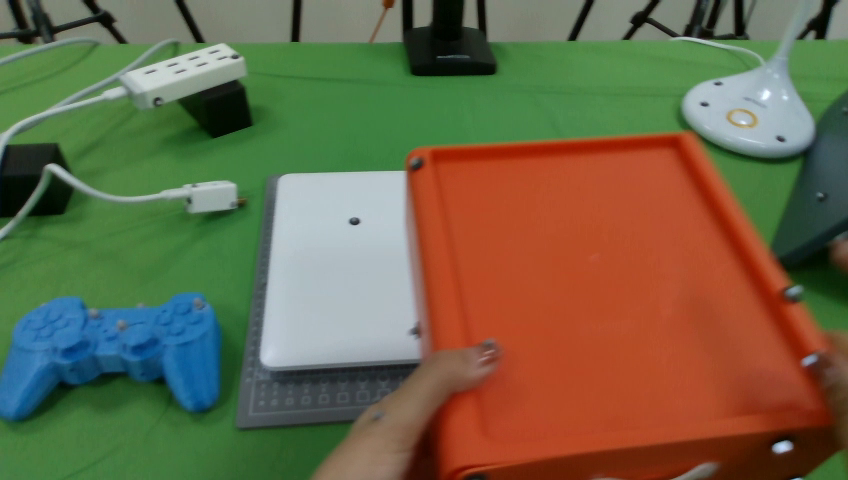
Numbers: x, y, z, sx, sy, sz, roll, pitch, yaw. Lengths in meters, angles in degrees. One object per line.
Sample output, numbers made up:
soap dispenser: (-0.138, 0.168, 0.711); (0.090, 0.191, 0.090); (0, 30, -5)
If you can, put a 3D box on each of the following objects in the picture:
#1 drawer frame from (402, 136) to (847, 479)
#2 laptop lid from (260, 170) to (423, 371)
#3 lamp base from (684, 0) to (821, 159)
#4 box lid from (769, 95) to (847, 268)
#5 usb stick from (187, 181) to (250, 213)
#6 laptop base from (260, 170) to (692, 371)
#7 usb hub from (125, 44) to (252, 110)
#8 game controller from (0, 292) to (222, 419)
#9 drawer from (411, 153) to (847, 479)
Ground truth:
drawer frame: (0.096, 0.038, 0.353); (0.202, 0.083, 0.211); (-5, 46, -7)
laptop lid: (0.039, 0.010, 0.553); (0.357, 0.013, 0.239); (0, 46, -5)
lamp base: (0.421, -0.216, 0.722); (0.159, 0.182, 0.179); (26, 46, 22)
box lid: (0.477, -0.130, 0.589); (0.015, 0.264, 0.370); (42, 52, 6)
usb stick: (-0.200, -0.043, 0.596); (0.059, 0.027, 0.021); (-9, 20, -44)
laptop base: (0.039, 0.017, 0.563); (0.355, 0.023, 0.233); (-1, 47, -6)
usb hub: (-0.259, -0.182, 0.673); (0.125, 0.025, 0.049); (-30, 55, -30)
game controller: (-0.230, 0.080, 0.455); (0.155, 0.052, 0.096); (-1, 39, -6)
drawer: (0.099, 0.040, 0.352); (0.195, 0.074, 0.209); (-4, 47, -7)
